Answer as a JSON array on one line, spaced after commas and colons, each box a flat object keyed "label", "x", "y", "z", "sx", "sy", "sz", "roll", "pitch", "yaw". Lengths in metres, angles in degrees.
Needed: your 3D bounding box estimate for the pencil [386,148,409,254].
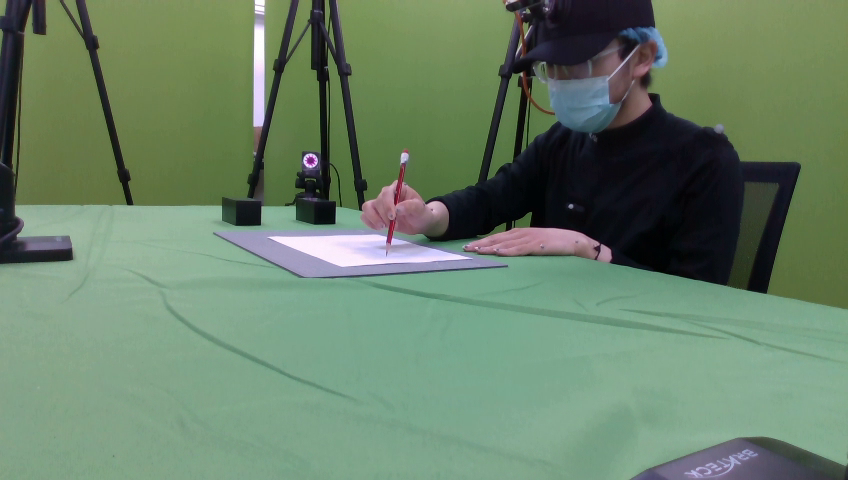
[{"label": "pencil", "x": -0.041, "y": -0.062, "z": 0.916, "sx": 0.012, "sy": 0.193, "sz": 0.012, "roll": 6, "pitch": -30, "yaw": 4}]
